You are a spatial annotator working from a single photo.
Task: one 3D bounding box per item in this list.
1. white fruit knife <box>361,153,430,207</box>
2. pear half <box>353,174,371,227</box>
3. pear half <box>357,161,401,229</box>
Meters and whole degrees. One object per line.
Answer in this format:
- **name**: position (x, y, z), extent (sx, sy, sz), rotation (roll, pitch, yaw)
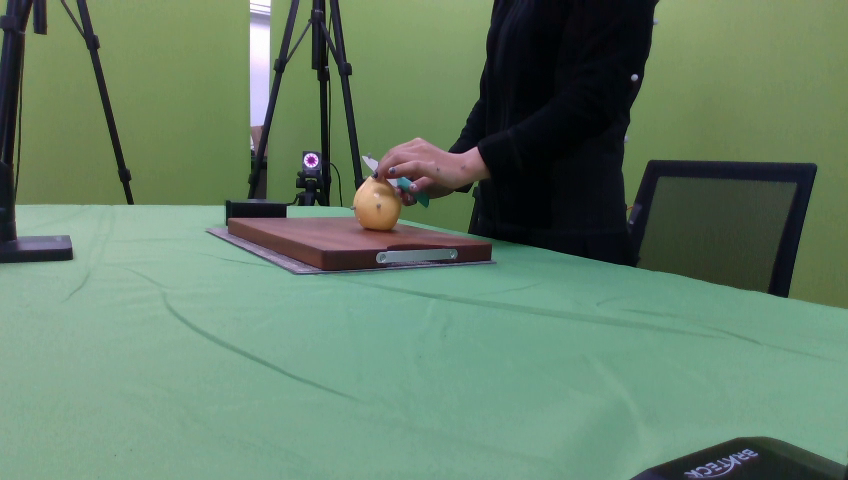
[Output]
- **white fruit knife**: position (-0.046, -0.106, 1.050), extent (0.016, 0.027, 0.208), rotation (-1, -18, 32)
- **pear half**: position (-0.095, -0.065, 0.992), extent (0.031, 0.088, 0.071), rotation (7, 14, 32)
- **pear half**: position (-0.065, -0.072, 0.971), extent (0.055, 0.110, 0.077), rotation (9, 13, 33)
